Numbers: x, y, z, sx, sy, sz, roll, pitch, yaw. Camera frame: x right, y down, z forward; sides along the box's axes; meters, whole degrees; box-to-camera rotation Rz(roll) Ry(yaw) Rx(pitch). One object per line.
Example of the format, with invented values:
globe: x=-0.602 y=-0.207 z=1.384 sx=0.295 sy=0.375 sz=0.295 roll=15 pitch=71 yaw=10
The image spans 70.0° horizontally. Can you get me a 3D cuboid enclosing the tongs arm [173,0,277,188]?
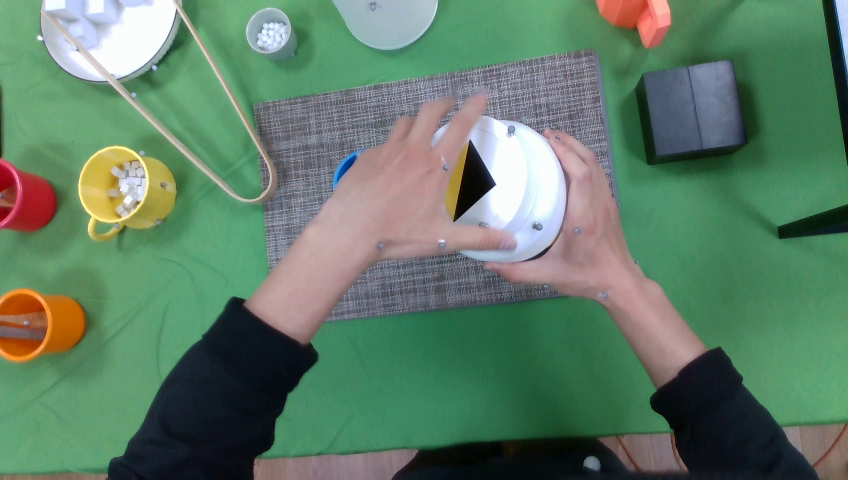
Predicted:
tongs arm: x=-0.292 y=-0.241 z=0.797 sx=0.028 sy=0.028 sz=0.387 roll=-31 pitch=89 yaw=-4

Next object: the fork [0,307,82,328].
fork: x=-0.551 y=0.093 z=0.766 sx=0.209 sy=0.018 sz=0.028 roll=10 pitch=84 yaw=-35

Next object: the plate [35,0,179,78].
plate: x=-0.433 y=-0.322 z=0.839 sx=0.207 sy=0.039 sz=0.207 roll=-1 pitch=86 yaw=8

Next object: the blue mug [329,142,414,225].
blue mug: x=-0.043 y=-0.059 z=0.727 sx=0.116 sy=0.106 sz=0.082 roll=19 pitch=88 yaw=9

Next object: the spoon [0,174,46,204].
spoon: x=-0.599 y=-0.046 z=0.787 sx=0.194 sy=0.022 sz=0.041 roll=-25 pitch=78 yaw=-39

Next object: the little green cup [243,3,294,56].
little green cup: x=-0.204 y=-0.276 z=0.804 sx=0.061 sy=0.039 sz=0.061 roll=-1 pitch=86 yaw=8

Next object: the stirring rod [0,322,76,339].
stirring rod: x=-0.541 y=0.110 z=0.766 sx=0.006 sy=0.177 sz=0.014 roll=-23 pitch=61 yaw=49

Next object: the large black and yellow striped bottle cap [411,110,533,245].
large black and yellow striped bottle cap: x=0.038 y=-0.053 z=0.517 sx=0.114 sy=0.019 sz=0.114 roll=-5 pitch=82 yaw=35

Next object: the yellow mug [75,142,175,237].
yellow mug: x=-0.401 y=-0.060 z=0.800 sx=0.099 sy=0.064 sz=0.131 roll=32 pitch=91 yaw=9

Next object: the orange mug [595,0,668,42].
orange mug: x=0.253 y=-0.304 z=0.712 sx=0.083 sy=0.101 sz=0.125 roll=-17 pitch=79 yaw=7

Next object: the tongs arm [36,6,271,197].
tongs arm: x=-0.357 y=-0.187 z=0.798 sx=0.384 sy=0.026 sz=0.051 roll=45 pitch=89 yaw=2

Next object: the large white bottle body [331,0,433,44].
large white bottle body: x=-0.063 y=-0.329 z=0.714 sx=0.130 sy=0.185 sz=0.130 roll=-1 pitch=85 yaw=8

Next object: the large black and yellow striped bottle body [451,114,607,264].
large black and yellow striped bottle body: x=0.087 y=-0.046 z=0.586 sx=0.130 sy=0.185 sz=0.130 roll=-4 pitch=83 yaw=35
